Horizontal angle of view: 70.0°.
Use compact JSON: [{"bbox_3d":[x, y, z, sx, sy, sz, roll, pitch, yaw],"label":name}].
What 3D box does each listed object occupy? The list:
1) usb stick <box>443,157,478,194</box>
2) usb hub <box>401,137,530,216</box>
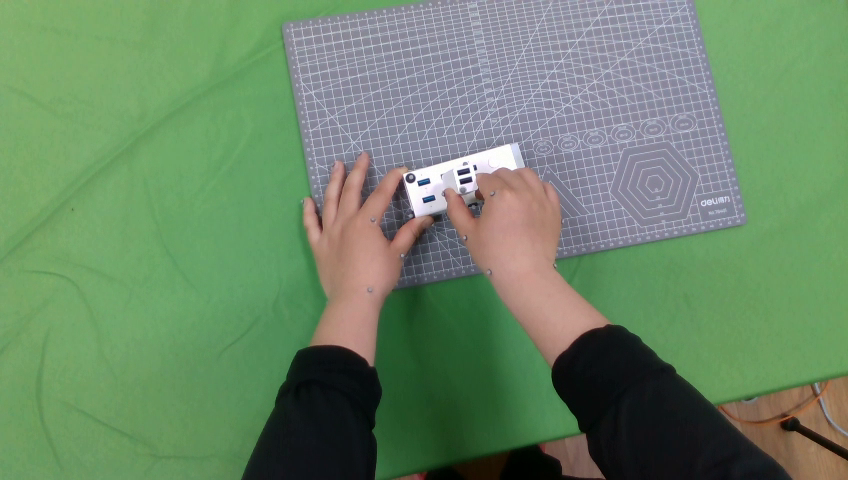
[{"bbox_3d":[0.034,-0.061,0.588,0.021,0.059,0.027,-18,87,-8],"label":"usb stick"},{"bbox_3d":[0.042,-0.067,0.626,0.125,0.025,0.049,-16,85,-5],"label":"usb hub"}]
